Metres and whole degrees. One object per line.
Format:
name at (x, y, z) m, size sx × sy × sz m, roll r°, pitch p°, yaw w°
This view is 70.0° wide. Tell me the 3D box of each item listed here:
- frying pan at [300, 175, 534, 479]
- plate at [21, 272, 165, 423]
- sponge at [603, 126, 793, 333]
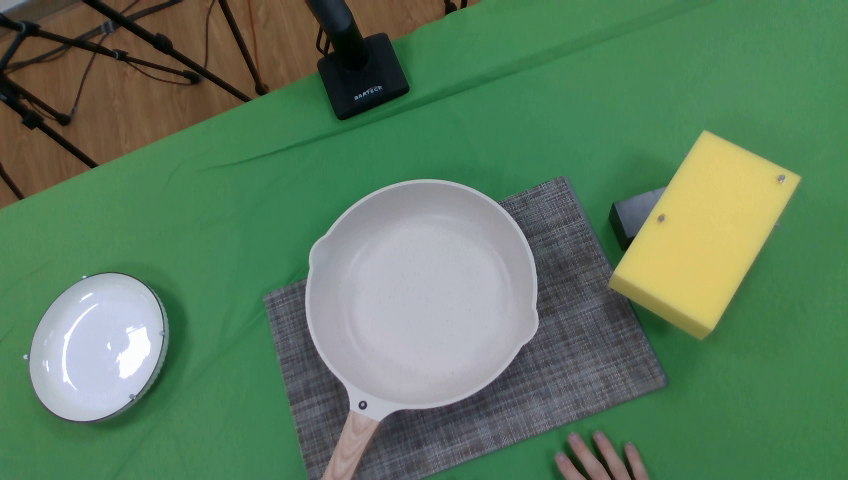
frying pan at (-0.050, 0.149, 0.734) m, size 0.305 × 0.103 × 0.485 m, roll 19°, pitch 68°, yaw 17°
plate at (-0.455, 0.148, 0.845) m, size 0.207 × 0.039 × 0.206 m, roll -3°, pitch 71°, yaw 9°
sponge at (0.311, -0.013, 0.697) m, size 0.117 × 0.061 × 0.206 m, roll 31°, pitch 79°, yaw 18°
